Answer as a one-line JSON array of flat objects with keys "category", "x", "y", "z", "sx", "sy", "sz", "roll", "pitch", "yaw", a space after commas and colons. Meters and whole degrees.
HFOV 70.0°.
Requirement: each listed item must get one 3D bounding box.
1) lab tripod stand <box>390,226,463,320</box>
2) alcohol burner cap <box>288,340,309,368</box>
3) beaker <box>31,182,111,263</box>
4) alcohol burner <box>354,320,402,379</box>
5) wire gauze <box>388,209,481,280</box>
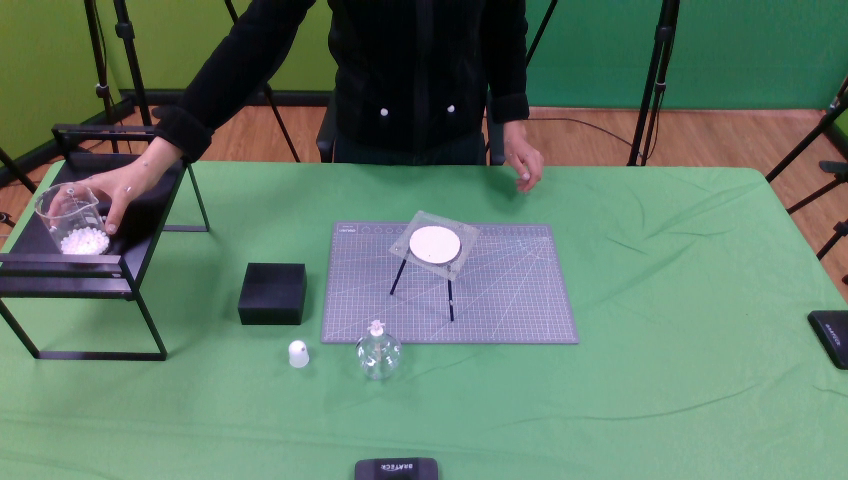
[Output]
[{"category": "lab tripod stand", "x": 0.014, "y": 0.053, "z": 1.063, "sx": 0.148, "sy": 0.132, "sz": 0.147, "roll": 1, "pitch": 48, "yaw": -1}, {"category": "alcohol burner cap", "x": -0.207, "y": 0.183, "z": 0.991, "sx": 0.034, "sy": 0.048, "sz": 0.033, "roll": 2, "pitch": 47, "yaw": -2}, {"category": "beaker", "x": -0.502, "y": -0.022, "z": 0.877, "sx": 0.084, "sy": 0.101, "sz": 0.073, "roll": -2, "pitch": 47, "yaw": -6}, {"category": "alcohol burner", "x": -0.074, "y": 0.169, "z": 0.964, "sx": 0.078, "sy": 0.120, "sz": 0.077, "roll": 1, "pitch": 46, "yaw": -1}, {"category": "wire gauze", "x": 0.018, "y": 0.002, "z": 1.019, "sx": 0.125, "sy": 0.011, "sz": 0.121, "roll": 21, "pitch": 49, "yaw": 16}]
